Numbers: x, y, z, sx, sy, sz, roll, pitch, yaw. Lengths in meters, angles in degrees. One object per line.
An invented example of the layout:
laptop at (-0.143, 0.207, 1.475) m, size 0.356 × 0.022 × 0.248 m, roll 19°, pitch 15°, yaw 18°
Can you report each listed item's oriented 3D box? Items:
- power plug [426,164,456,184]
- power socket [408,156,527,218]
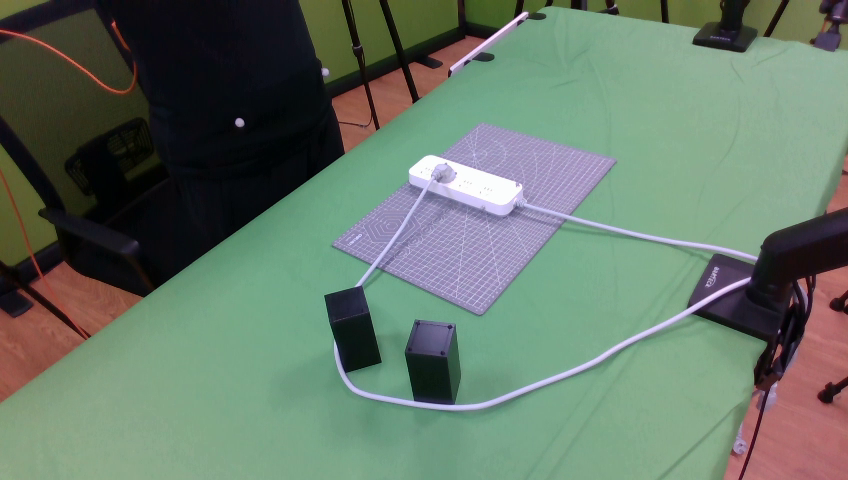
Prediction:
power plug at (0.024, -0.103, 1.047) m, size 0.073 × 0.053 × 0.035 m, roll -35°, pitch 47°, yaw -26°
power socket at (0.070, -0.095, 1.060) m, size 0.225 × 0.033 × 0.072 m, roll 22°, pitch 49°, yaw 30°
